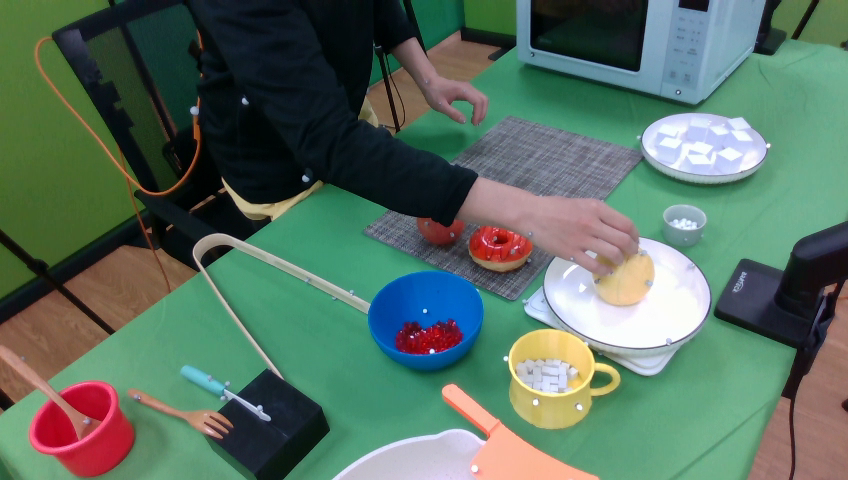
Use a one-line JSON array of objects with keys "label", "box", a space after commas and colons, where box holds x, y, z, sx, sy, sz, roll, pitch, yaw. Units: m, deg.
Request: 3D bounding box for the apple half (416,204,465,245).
[{"label": "apple half", "box": [0.027, -0.018, 0.943, 0.081, 0.081, 0.032, -4, 36, 4]}]

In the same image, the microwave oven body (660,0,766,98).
[{"label": "microwave oven body", "box": [0.472, -0.513, 1.317, 0.438, 0.261, 0.327, 26, 51, 34]}]

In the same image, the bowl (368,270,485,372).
[{"label": "bowl", "box": [0.007, 0.118, 0.791, 0.151, 0.077, 0.150, -5, 40, 4]}]

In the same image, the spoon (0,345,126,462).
[{"label": "spoon", "box": [-0.434, 0.192, 0.720, 0.194, 0.021, 0.042, 47, 53, -6]}]

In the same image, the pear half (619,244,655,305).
[{"label": "pear half", "box": [0.275, 0.046, 0.766, 0.031, 0.088, 0.070, 20, 46, 30]}]

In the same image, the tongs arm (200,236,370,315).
[{"label": "tongs arm", "box": [-0.209, 0.062, 0.924, 0.381, 0.027, 0.051, 23, 55, 32]}]

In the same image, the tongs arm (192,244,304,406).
[{"label": "tongs arm", "box": [-0.268, 0.112, 0.884, 0.028, 0.028, 0.384, -37, 47, -17]}]

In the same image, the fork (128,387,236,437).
[{"label": "fork", "box": [-0.305, 0.207, 0.744, 0.206, 0.019, 0.028, 3, 41, 36]}]

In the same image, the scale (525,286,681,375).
[{"label": "scale", "box": [0.254, 0.091, 0.821, 0.199, 0.032, 0.149, 27, 51, 35]}]

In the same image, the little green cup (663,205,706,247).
[{"label": "little green cup", "box": [0.396, -0.020, 0.926, 0.061, 0.039, 0.061, -4, 40, 4]}]

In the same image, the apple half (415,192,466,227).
[{"label": "apple half", "box": [0.028, -0.042, 0.974, 0.081, 0.075, 0.053, -5, 37, 7]}]

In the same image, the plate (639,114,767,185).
[{"label": "plate", "box": [0.489, -0.157, 1.074, 0.207, 0.039, 0.206, -4, 40, 4]}]

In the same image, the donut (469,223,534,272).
[{"label": "donut", "box": [0.118, 0.010, 0.923, 0.099, 0.048, 0.098, -3, 37, 3]}]

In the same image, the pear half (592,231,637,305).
[{"label": "pear half", "box": [0.246, 0.027, 0.778, 0.055, 0.110, 0.076, 21, 45, 31]}]

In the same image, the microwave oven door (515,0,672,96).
[{"label": "microwave oven door", "box": [0.343, -0.455, 1.259, 0.353, 0.245, 0.039, 26, 51, 33]}]

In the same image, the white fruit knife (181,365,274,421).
[{"label": "white fruit knife", "box": [-0.245, 0.188, 0.747, 0.205, 0.027, 0.016, 9, 41, 41]}]

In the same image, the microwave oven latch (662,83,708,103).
[{"label": "microwave oven latch", "box": [0.517, -0.296, 1.204, 0.078, 0.029, 0.030, 27, 52, 35]}]

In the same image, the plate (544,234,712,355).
[{"label": "plate", "box": [0.262, 0.072, 0.792, 0.209, 0.038, 0.208, -4, 41, 4]}]

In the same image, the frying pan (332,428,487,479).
[{"label": "frying pan", "box": [-0.089, 0.306, 0.564, 0.487, 0.103, 0.306, 10, 41, 7]}]

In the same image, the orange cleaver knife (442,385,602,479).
[{"label": "orange cleaver knife", "box": [0.085, 0.219, 0.612, 0.209, 0.012, 0.077, 28, 49, 35]}]

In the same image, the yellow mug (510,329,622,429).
[{"label": "yellow mug", "box": [0.168, 0.164, 0.721, 0.130, 0.064, 0.099, 0, 40, 8]}]
